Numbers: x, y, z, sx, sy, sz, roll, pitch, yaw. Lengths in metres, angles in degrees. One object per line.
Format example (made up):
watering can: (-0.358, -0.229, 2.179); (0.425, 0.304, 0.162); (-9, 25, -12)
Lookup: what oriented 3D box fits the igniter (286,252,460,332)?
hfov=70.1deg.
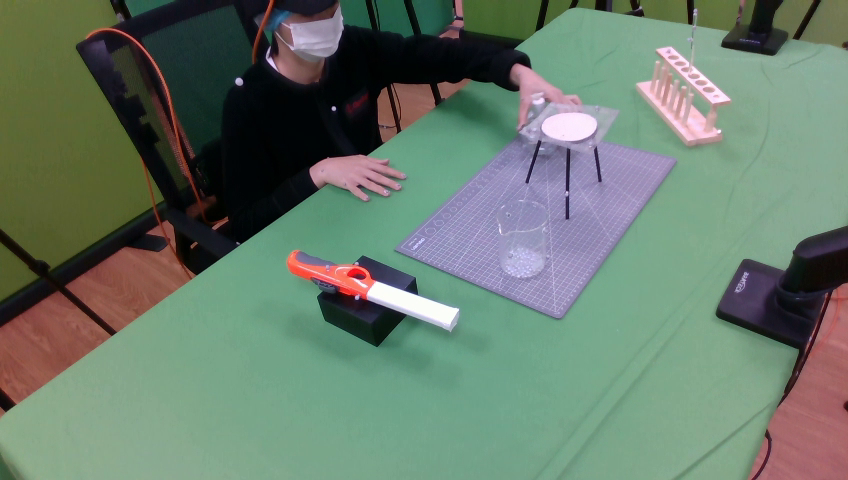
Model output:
igniter: (-0.080, 0.067, 0.832); (0.275, 0.025, 0.057); (17, 46, 22)

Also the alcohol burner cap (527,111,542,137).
alcohol burner cap: (0.221, -0.233, 1.200); (0.034, 0.048, 0.033); (-7, 41, 6)

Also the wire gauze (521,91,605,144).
wire gauze: (0.219, -0.191, 0.948); (0.121, 0.011, 0.125); (8, 49, 13)

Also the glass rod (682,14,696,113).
glass rod: (0.495, -0.326, 1.132); (0.008, 0.201, 0.008); (-8, 42, 8)

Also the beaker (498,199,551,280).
beaker: (0.144, 0.003, 0.884); (0.073, 0.101, 0.084); (28, 52, 36)

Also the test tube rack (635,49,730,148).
test tube rack: (0.497, -0.283, 1.185); (0.067, 0.085, 0.240); (-10, 40, -2)

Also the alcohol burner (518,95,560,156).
alcohol burner: (0.208, -0.214, 1.105); (0.078, 0.120, 0.077); (-10, 44, 10)

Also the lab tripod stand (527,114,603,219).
lab tripod stand: (0.234, -0.129, 1.002); (0.148, 0.132, 0.147); (-6, 40, 6)
